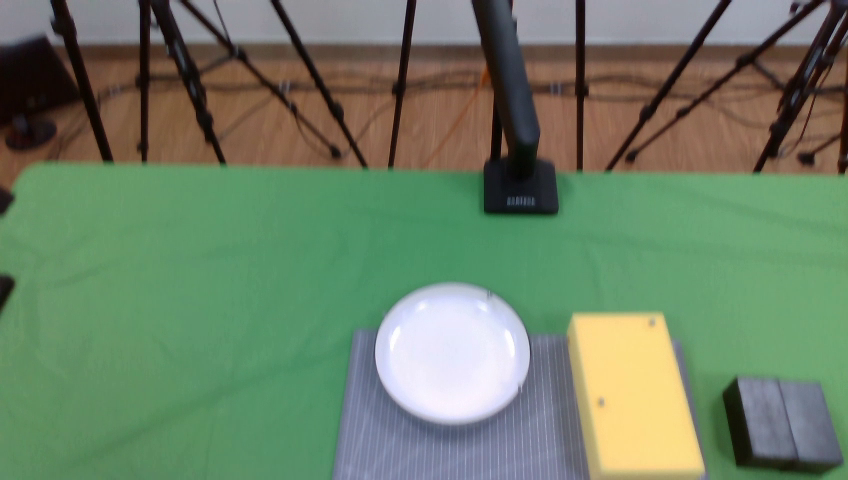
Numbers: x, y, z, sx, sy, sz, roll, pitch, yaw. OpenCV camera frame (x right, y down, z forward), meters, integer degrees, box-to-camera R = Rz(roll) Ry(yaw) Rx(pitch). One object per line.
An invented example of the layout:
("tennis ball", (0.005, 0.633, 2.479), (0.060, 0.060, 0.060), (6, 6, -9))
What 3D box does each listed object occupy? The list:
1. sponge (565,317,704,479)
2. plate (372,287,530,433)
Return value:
("sponge", (0.254, 0.200, 0.757), (0.118, 0.061, 0.205), (-2, 53, 1))
("plate", (0.036, 0.159, 0.809), (0.209, 0.038, 0.207), (-1, 53, 1))
